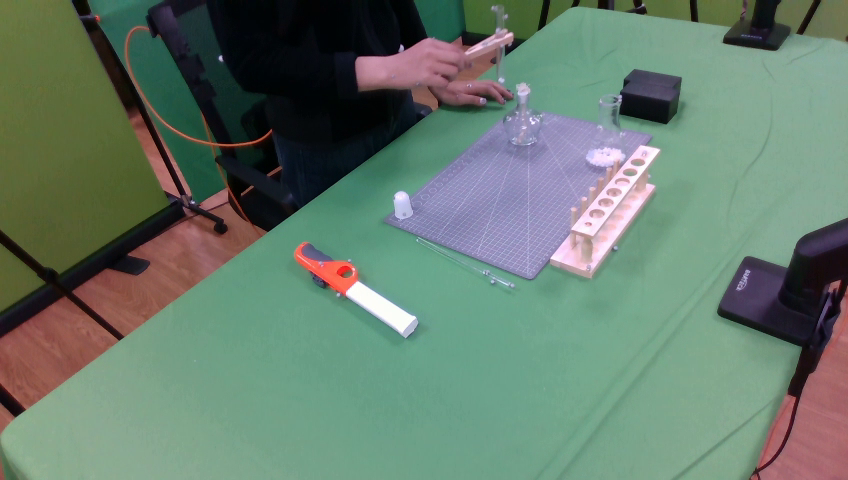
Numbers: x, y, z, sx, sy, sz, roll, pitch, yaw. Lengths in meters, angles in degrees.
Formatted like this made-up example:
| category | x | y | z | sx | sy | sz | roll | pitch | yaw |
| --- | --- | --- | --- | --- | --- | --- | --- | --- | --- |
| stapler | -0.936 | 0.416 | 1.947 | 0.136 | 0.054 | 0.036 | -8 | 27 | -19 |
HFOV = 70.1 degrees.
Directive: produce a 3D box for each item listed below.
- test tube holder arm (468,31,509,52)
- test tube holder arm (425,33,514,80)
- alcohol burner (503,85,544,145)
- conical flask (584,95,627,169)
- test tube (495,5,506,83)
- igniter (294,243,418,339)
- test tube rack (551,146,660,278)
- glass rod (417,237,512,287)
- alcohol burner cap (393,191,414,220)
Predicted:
| category | x | y | z | sx | sy | sz | roll | pitch | yaw |
| --- | --- | --- | --- | --- | --- | --- | --- | --- | --- |
| test tube holder arm | 0.112 | -0.339 | 1.049 | 0.088 | 0.015 | 0.010 | -35 | 47 | -22 |
| test tube holder arm | 0.079 | -0.314 | 1.030 | 0.179 | 0.015 | 0.013 | -30 | 45 | -17 |
| alcohol burner | 0.191 | -0.244 | 1.160 | 0.078 | 0.119 | 0.077 | -4 | 40 | 4 |
| conical flask | 0.323 | -0.192 | 1.066 | 0.075 | 0.122 | 0.075 | -6 | 40 | 5 |
| test tube | 0.135 | -0.340 | 1.064 | 0.017 | 0.151 | 0.017 | -4 | 50 | 6 |
| igniter | -0.114 | 0.070 | 0.919 | 0.274 | 0.025 | 0.057 | 29 | 63 | 37 |
| test tube rack | 0.286 | -0.053 | 0.943 | 0.066 | 0.085 | 0.243 | 21 | 49 | 32 |
| glass rod | 0.059 | 0.033 | 0.945 | 0.198 | 0.008 | 0.008 | 26 | 52 | 38 |
| alcohol burner cap | -0.037 | -0.062 | 1.045 | 0.034 | 0.048 | 0.033 | -5 | 40 | 5 |
